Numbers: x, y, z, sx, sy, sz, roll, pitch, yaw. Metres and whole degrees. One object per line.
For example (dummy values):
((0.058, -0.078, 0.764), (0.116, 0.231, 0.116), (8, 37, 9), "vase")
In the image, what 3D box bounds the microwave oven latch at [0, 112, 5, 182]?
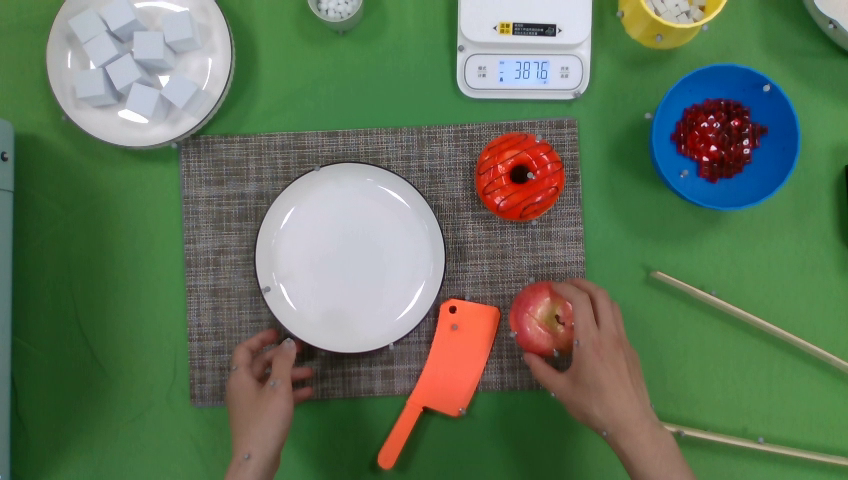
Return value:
((-0.475, -0.103, 0.656), (0.030, 0.029, 0.079), (2, 89, 0), "microwave oven latch")

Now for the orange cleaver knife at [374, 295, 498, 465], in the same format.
((0.013, 0.157, 0.669), (0.077, 0.012, 0.211), (26, 87, -4), "orange cleaver knife")

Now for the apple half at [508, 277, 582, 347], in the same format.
((0.134, 0.069, 0.644), (0.080, 0.075, 0.053), (39, 85, 6), "apple half")

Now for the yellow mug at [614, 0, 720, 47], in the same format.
((0.256, -0.283, 0.659), (0.100, 0.064, 0.130), (-35, 87, 0), "yellow mug")

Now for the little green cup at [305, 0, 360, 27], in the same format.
((-0.100, -0.270, 0.676), (0.061, 0.038, 0.061), (0, 88, 1), "little green cup")

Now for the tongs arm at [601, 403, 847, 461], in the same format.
((0.389, 0.204, 0.659), (0.385, 0.026, 0.050), (13, 86, 1), "tongs arm")

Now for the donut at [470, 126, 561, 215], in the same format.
((0.099, -0.075, 0.662), (0.099, 0.048, 0.099), (0, 89, 3), "donut")

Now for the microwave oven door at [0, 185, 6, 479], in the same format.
((-0.478, 0.112, 0.549), (0.039, 0.244, 0.355), (-1, 88, 1), "microwave oven door")

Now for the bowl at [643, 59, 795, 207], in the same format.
((0.300, -0.107, 0.648), (0.151, 0.077, 0.151), (0, 89, 1), "bowl")

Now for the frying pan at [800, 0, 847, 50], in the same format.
((0.583, -0.233, 0.635), (0.307, 0.103, 0.485), (-29, 80, 1), "frying pan")

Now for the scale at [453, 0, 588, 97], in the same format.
((0.109, -0.264, 0.677), (0.149, 0.031, 0.200), (2, 89, 1), "scale")

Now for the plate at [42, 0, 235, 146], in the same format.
((-0.312, -0.206, 0.676), (0.208, 0.039, 0.207), (0, 88, 0), "plate")

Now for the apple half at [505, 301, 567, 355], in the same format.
((0.110, 0.100, 0.642), (0.081, 0.081, 0.033), (40, 83, 2), "apple half")

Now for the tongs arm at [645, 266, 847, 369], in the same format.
((0.416, 0.122, 0.661), (0.387, 0.028, 0.028), (28, 83, 1), "tongs arm")

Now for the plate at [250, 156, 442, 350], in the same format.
((-0.083, 0.014, 0.665), (0.209, 0.038, 0.209), (0, 88, 1), "plate")
